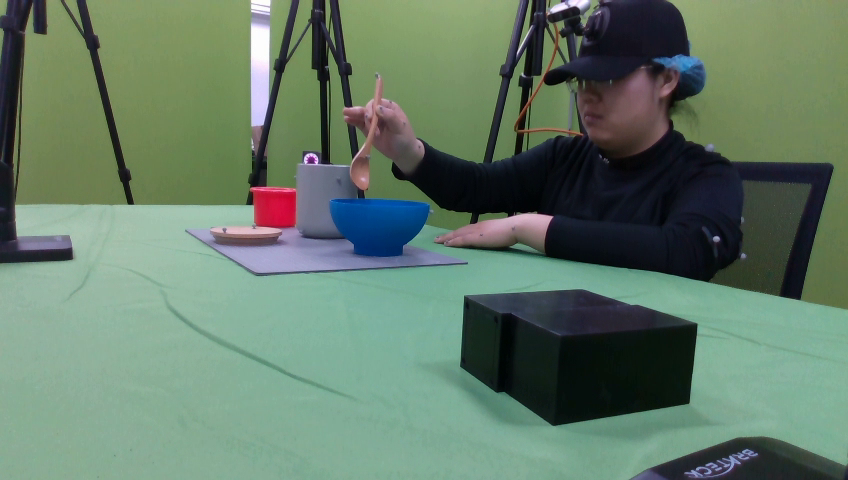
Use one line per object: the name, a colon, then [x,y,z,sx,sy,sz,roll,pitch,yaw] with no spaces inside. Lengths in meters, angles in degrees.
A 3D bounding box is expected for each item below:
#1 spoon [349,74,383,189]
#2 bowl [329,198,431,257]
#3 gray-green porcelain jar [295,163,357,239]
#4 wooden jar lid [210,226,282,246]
spoon: [-0.084,-0.170,0.936,0.021,0.193,0.042,1,-17,43]
bowl: [-0.067,-0.019,0.895,0.151,0.077,0.151,3,7,0]
gray-green porcelain jar: [-0.170,-0.069,1.054,0.106,0.126,0.106,3,8,0]
wooden jar lid: [-0.279,-0.007,0.951,0.108,0.020,0.108,2,8,0]
